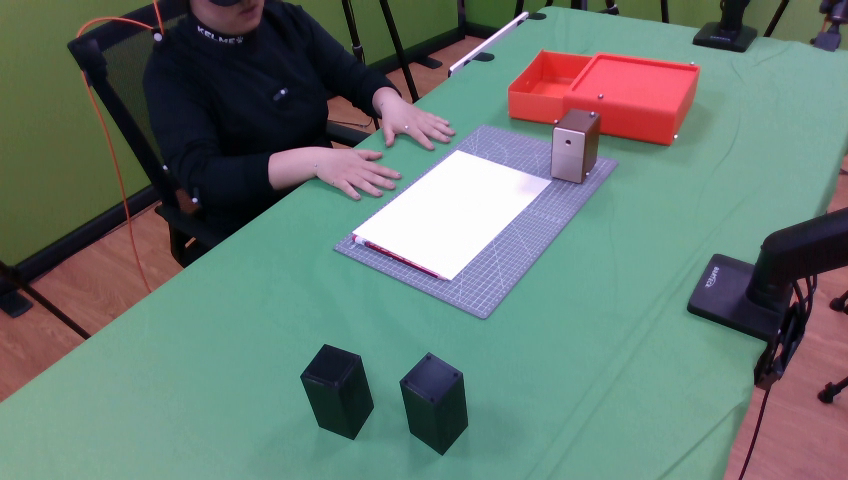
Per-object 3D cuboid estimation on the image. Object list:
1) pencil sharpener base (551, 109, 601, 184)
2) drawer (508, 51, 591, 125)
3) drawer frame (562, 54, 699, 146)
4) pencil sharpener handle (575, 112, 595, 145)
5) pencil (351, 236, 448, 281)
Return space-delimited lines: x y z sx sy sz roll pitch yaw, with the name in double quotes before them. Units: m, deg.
"pencil sharpener base" 0.265 -0.163 1.053 0.061 0.107 0.077 17 46 27
"drawer" 0.304 -0.309 1.246 0.210 0.073 0.195 16 45 25
"drawer frame" 0.406 -0.282 1.195 0.212 0.083 0.202 17 45 25
"pencil sharpener handle" 0.290 -0.203 1.077 0.036 0.068 0.031 20 47 25
"pencil" -0.041 0.029 0.946 0.192 0.012 0.012 23 49 29
